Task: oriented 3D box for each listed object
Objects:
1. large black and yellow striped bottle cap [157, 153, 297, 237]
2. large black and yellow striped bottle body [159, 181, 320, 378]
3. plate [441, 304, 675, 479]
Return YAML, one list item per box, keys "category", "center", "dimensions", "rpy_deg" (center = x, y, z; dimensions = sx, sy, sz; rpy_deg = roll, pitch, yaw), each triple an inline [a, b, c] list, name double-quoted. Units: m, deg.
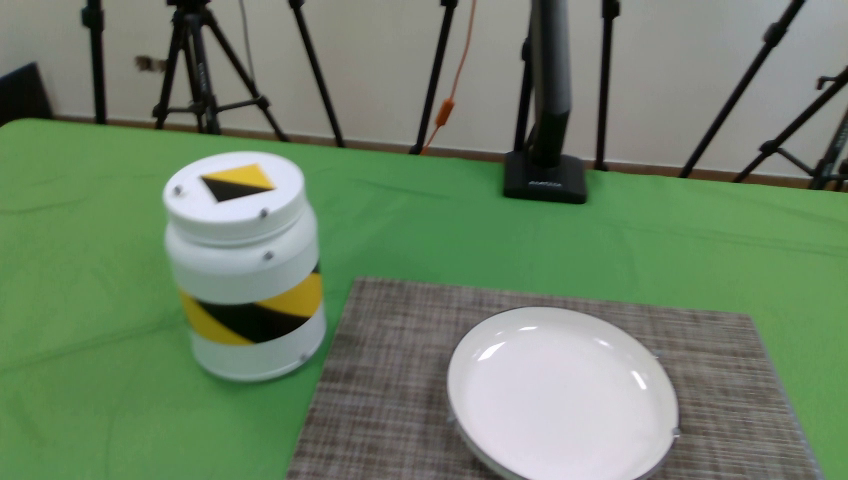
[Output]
- category: "large black and yellow striped bottle cap"
  center: [-0.169, -0.042, 0.523]
  dimensions: [0.115, 0.019, 0.114]
  rpy_deg: [3, 36, -2]
- category: "large black and yellow striped bottle body"
  center: [-0.170, 0.026, 0.575]
  dimensions: [0.131, 0.185, 0.129]
  rpy_deg: [2, 37, -1]
- category: "plate"
  center: [0.118, 0.142, 0.555]
  dimensions: [0.208, 0.039, 0.205]
  rpy_deg: [2, 37, -1]
